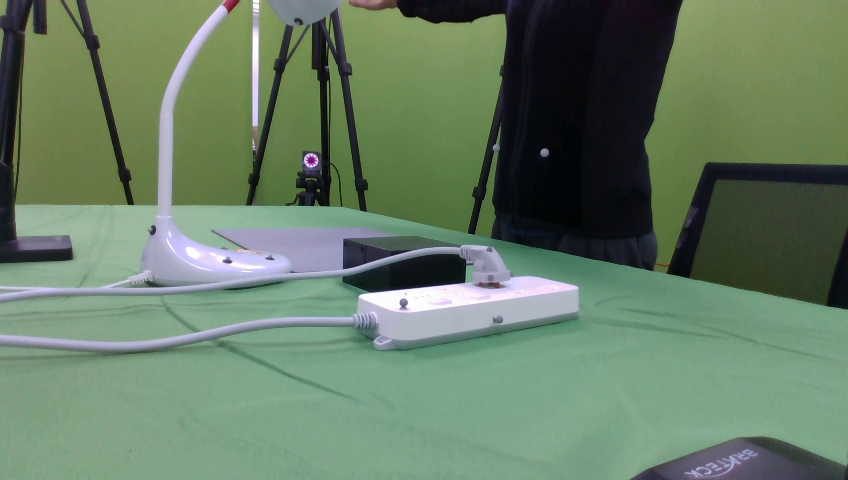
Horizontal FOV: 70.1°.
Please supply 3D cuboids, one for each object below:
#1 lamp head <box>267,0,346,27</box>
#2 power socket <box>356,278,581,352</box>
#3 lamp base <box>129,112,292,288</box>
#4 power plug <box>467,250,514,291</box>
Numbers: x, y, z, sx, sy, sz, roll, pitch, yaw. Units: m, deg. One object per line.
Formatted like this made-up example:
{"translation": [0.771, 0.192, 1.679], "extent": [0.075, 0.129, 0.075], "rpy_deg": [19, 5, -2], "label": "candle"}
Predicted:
{"translation": [-0.157, -0.326, 0.701], "extent": [0.112, 0.112, 0.123], "rpy_deg": [6, -16, 26], "label": "lamp head"}
{"translation": [0.045, 0.059, 0.523], "extent": [0.228, 0.032, 0.072], "rpy_deg": [-3, 8, -36], "label": "power socket"}
{"translation": [-0.233, -0.045, 0.658], "extent": [0.160, 0.180, 0.180], "rpy_deg": [7, 11, 29], "label": "lamp base"}
{"translation": [0.051, 0.037, 0.529], "extent": [0.035, 0.052, 0.073], "rpy_deg": [-10, 3, 39], "label": "power plug"}
